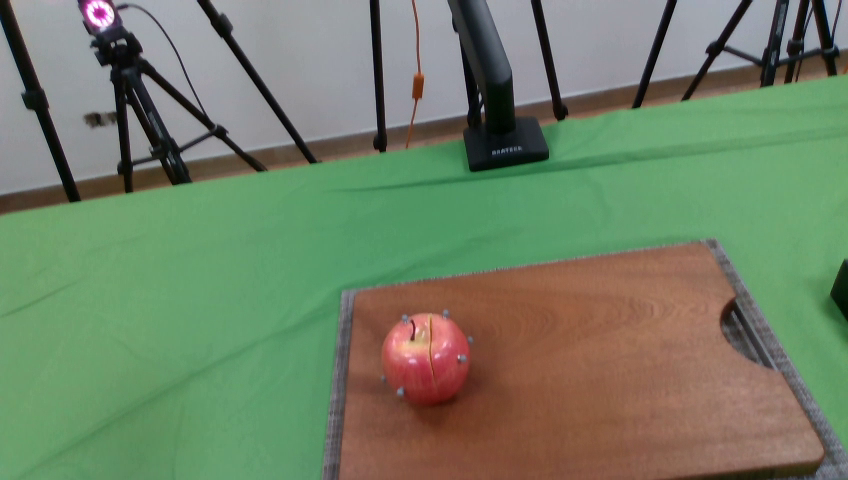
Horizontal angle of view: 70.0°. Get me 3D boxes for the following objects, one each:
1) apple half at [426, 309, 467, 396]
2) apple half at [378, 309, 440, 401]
[{"bbox_3d":[0.024,0.104,0.562,0.033,0.082,0.080,-9,41,8],"label":"apple half"},{"bbox_3d":[-0.015,0.110,0.566,0.053,0.075,0.080,-11,44,8],"label":"apple half"}]
